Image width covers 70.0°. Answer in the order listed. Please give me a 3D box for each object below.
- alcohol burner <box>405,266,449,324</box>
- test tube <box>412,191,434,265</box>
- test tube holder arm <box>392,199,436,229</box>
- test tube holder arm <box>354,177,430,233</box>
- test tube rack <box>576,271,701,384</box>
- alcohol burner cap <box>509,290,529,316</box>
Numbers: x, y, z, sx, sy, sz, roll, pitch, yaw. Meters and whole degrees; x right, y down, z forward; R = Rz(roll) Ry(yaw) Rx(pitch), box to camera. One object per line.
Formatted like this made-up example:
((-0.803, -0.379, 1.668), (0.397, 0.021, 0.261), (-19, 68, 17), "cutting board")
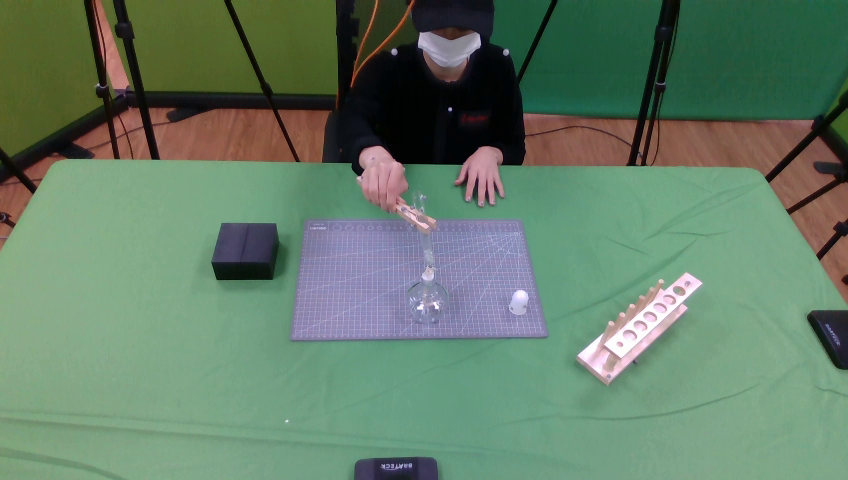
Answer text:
((0.005, 0.089, 1.043), (0.078, 0.120, 0.077), (1, 45, -1), "alcohol burner")
((-0.001, -0.015, 0.946), (0.017, 0.151, 0.017), (-6, 43, 5), "test tube")
((-0.018, -0.041, 0.947), (0.087, 0.015, 0.010), (27, 51, 28), "test tube holder arm")
((-0.055, -0.058, 0.968), (0.013, 0.015, 0.177), (-35, 52, -30), "test tube holder arm")
((0.373, 0.138, 1.047), (0.242, 0.085, 0.066), (-31, 56, -29), "test tube rack")
((0.171, 0.110, 1.086), (0.034, 0.048, 0.033), (2, 45, -2), "alcohol burner cap")
